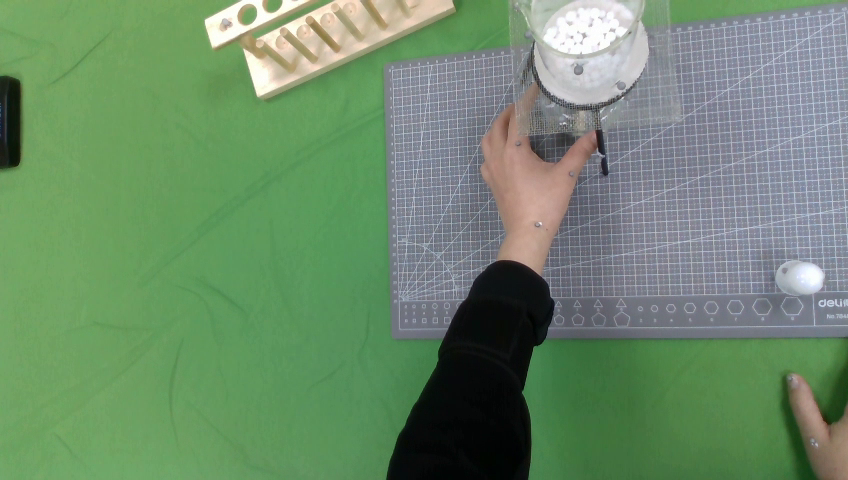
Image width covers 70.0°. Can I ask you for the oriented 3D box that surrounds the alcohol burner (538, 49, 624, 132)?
[{"bbox_3d":[0.142,-0.140,0.548,0.077,0.119,0.078,-1,86,14],"label":"alcohol burner"}]

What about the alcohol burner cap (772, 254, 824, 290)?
[{"bbox_3d":[0.327,0.028,0.527,0.034,0.048,0.034,-1,86,15],"label":"alcohol burner cap"}]

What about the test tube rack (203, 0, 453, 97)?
[{"bbox_3d":[-0.099,-0.238,0.637,0.242,0.085,0.066,-20,82,14],"label":"test tube rack"}]

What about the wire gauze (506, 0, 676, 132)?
[{"bbox_3d":[0.129,-0.148,0.474,0.125,0.011,0.121,-3,90,13],"label":"wire gauze"}]

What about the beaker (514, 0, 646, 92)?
[{"bbox_3d":[0.110,-0.151,0.429,0.083,0.100,0.074,11,91,16],"label":"beaker"}]

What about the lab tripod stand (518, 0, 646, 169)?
[{"bbox_3d":[0.146,-0.144,0.537,0.148,0.132,0.148,0,88,14],"label":"lab tripod stand"}]
